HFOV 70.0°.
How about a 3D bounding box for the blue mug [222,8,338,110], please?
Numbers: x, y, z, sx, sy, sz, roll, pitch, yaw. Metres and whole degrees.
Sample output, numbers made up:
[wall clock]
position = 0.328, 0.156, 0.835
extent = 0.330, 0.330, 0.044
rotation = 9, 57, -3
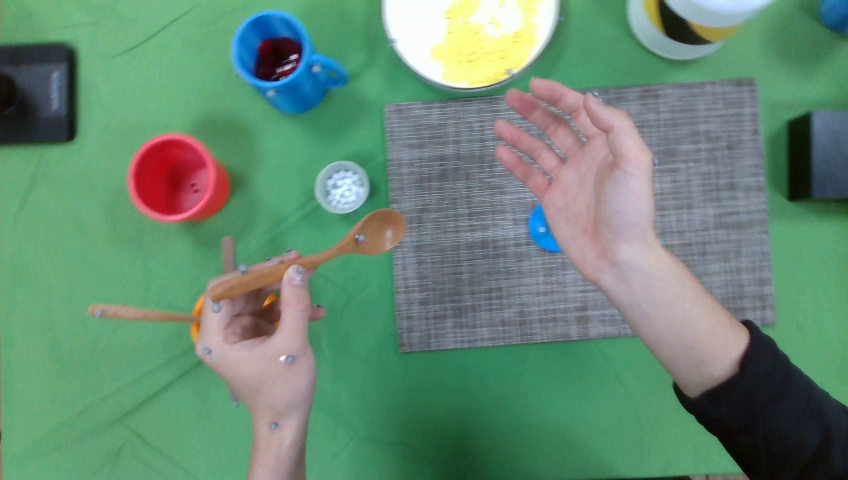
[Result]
[blue mug]
position = -0.156, -0.200, 0.692
extent = 0.116, 0.106, 0.082
rotation = 9, 88, 1

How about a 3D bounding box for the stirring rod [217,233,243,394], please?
[stirring rod]
position = -0.212, 0.079, 0.660
extent = 0.014, 0.006, 0.176
rotation = -5, 88, 2

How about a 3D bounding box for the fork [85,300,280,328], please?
[fork]
position = -0.255, 0.080, 0.663
extent = 0.209, 0.018, 0.028
rotation = 11, 94, -42

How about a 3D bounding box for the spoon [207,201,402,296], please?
[spoon]
position = -0.081, 0.006, 0.462
extent = 0.021, 0.194, 0.042
rotation = 19, 115, 28

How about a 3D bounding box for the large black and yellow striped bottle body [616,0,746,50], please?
[large black and yellow striped bottle body]
position = 0.293, -0.297, 0.647
extent = 0.131, 0.184, 0.130
rotation = 0, 88, 2

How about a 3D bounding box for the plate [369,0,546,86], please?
[plate]
position = 0.039, -0.285, 0.724
extent = 0.209, 0.038, 0.209
rotation = 0, 89, 1

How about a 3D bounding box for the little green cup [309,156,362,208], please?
[little green cup]
position = -0.102, -0.066, 0.720
extent = 0.061, 0.038, 0.061
rotation = 0, 89, 2

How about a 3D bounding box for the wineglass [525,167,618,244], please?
[wineglass]
position = 0.150, -0.032, 0.643
extent = 0.074, 0.172, 0.073
rotation = 0, 87, 2

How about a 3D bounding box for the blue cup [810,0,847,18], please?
[blue cup]
position = 0.492, -0.299, 0.684
extent = 0.092, 0.100, 0.092
rotation = 0, 89, 3
